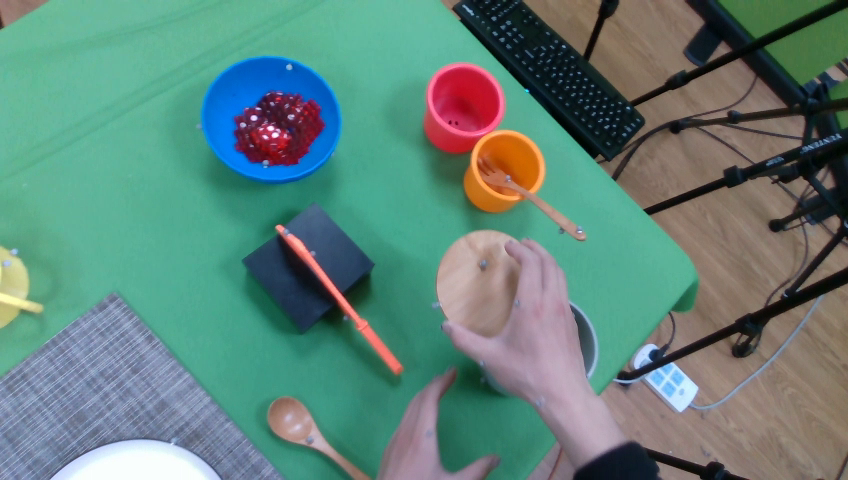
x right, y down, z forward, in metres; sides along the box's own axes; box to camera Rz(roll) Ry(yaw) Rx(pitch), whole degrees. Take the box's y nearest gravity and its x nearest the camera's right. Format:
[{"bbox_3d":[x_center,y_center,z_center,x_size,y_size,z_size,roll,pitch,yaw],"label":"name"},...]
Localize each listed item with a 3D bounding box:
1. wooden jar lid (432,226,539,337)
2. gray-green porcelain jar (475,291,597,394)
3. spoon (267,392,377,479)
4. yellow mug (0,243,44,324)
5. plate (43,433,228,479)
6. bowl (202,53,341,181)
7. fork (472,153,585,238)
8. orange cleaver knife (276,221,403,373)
[{"bbox_3d":[0.059,0.040,0.589,0.109,0.020,0.108,2,84,-15],"label":"wooden jar lid"},{"bbox_3d":[0.118,0.119,0.678,0.106,0.127,0.105,3,75,-10],"label":"gray-green porcelain jar"},{"bbox_3d":[-0.093,0.236,0.660,0.193,0.022,0.041,40,50,1],"label":"spoon"},{"bbox_3d":[-0.454,0.046,0.614,0.131,0.064,0.099,20,73,-7],"label":"yellow mug"},{"bbox_3d":[-0.287,0.297,0.595,0.210,0.038,0.208,3,76,-11],"label":"plate"},{"bbox_3d":[-0.174,-0.131,0.707,0.152,0.077,0.150,3,76,-11],"label":"bowl"},{"bbox_3d":[0.118,-0.055,0.709,0.028,0.019,0.205,-24,38,-17],"label":"fork"},{"bbox_3d":[-0.093,0.064,0.672,0.012,0.076,0.213,-40,110,-14],"label":"orange cleaver knife"}]
